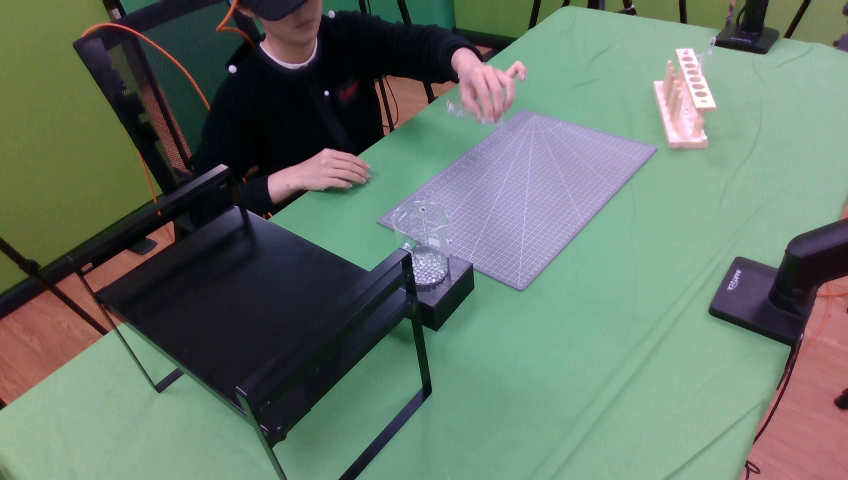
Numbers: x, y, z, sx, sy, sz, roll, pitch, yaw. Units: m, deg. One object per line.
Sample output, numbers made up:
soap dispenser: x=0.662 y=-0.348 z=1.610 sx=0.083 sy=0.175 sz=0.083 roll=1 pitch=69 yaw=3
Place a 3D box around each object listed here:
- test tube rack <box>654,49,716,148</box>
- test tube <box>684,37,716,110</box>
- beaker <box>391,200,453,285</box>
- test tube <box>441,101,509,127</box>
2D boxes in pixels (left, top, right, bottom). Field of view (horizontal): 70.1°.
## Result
test tube rack: x=0.502 y=-0.281 z=1.176 sx=0.066 sy=0.085 sz=0.241 roll=2 pitch=41 yaw=11
test tube: x=0.513 y=-0.306 z=1.126 sx=0.017 sy=0.151 sz=0.017 roll=-1 pitch=48 yaw=1
beaker: x=0.002 y=0.006 z=0.831 sx=0.084 sy=0.101 sz=0.074 roll=5 pitch=42 yaw=13
test tube: x=0.079 y=-0.185 z=0.895 sx=0.152 sy=0.017 sz=0.017 roll=1 pitch=25 yaw=-47
